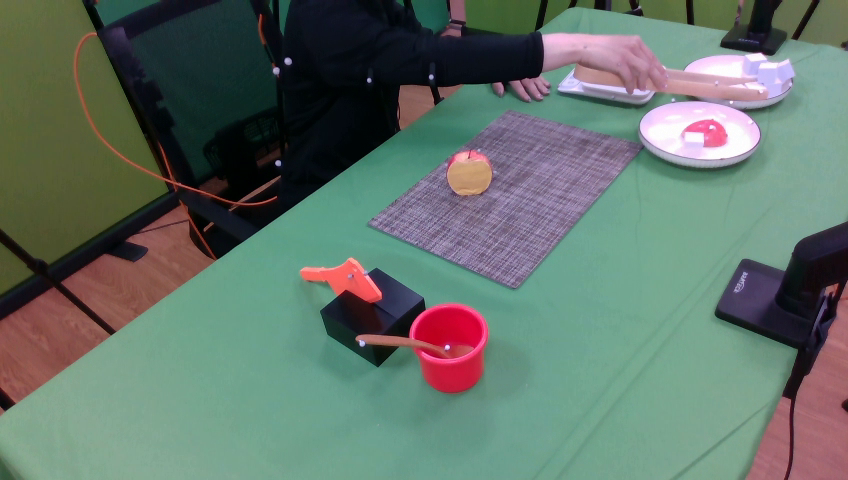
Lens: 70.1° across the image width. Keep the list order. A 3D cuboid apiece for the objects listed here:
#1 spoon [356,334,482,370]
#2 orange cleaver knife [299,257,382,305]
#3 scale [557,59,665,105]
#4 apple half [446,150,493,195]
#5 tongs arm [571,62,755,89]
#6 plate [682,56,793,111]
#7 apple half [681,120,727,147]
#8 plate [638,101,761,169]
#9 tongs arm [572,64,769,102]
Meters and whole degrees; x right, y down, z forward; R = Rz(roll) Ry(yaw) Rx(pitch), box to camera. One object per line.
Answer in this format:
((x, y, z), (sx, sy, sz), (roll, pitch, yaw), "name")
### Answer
((-0.001, 0.130, 0.731), (0.195, 0.021, 0.041), (22, 28, -39), "spoon")
((-0.124, 0.062, 0.872), (0.012, 0.077, 0.210), (-38, 17, -30), "orange cleaver knife")
((0.407, -0.348, 1.314), (0.199, 0.032, 0.149), (19, 47, 28), "scale")
((0.080, -0.123, 1.065), (0.081, 0.075, 0.053), (-7, 36, 7), "apple half")
((0.468, -0.313, 1.175), (0.389, 0.028, 0.028), (3, 37, -10), "tongs arm")
((0.636, -0.317, 1.239), (0.207, 0.039, 0.206), (-4, 40, 4), "plate")
((0.518, -0.202, 1.115), (0.081, 0.033, 0.081), (-1, 40, 2), "apple half")
((0.500, -0.189, 1.111), (0.209, 0.038, 0.208), (-4, 41, 4), "plate")
((0.470, -0.296, 1.148), (0.386, 0.026, 0.050), (2, 33, -12), "tongs arm")
